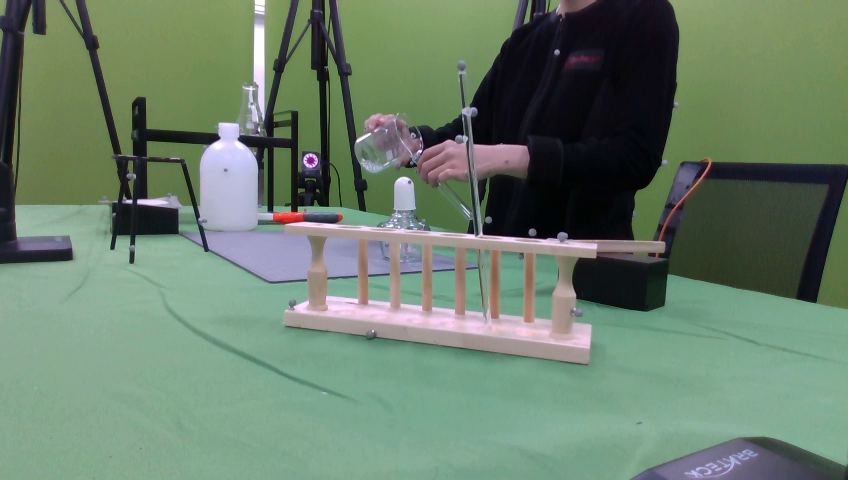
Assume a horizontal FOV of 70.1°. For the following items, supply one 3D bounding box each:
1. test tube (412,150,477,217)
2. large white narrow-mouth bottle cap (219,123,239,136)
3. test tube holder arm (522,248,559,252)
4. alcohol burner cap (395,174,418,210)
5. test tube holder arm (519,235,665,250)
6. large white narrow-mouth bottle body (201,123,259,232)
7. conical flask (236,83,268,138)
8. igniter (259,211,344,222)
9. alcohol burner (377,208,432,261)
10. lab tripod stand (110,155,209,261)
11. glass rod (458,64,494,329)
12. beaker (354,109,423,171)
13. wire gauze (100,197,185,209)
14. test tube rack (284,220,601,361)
[{"bbox_3d":[0.033,-0.091,0.975,0.150,0.017,0.017,48,27,19],"label":"test tube"},{"bbox_3d":[-0.356,-0.201,1.104,0.038,0.024,0.037,2,8,0],"label":"large white narrow-mouth bottle cap"},{"bbox_3d":[0.144,0.005,0.636,0.088,0.015,0.010,-1,17,-19],"label":"test tube holder arm"},{"bbox_3d":[-0.026,-0.067,0.833,0.034,0.048,0.034,-2,12,1],"label":"alcohol burner cap"},{"bbox_3d":[0.185,0.002,0.656,0.179,0.015,0.013,-1,17,-20],"label":"test tube holder arm"},{"bbox_3d":[-0.358,-0.116,1.116,0.102,0.194,0.102,2,8,0],"label":"large white narrow-mouth bottle body"},{"bbox_3d":[-0.400,-0.298,1.396,0.075,0.122,0.075,2,8,0],"label":"conical flask"},{"bbox_3d":[-0.302,-0.048,1.249,0.278,0.025,0.057,-2,-2,-27],"label":"igniter"},{"bbox_3d":[-0.027,-0.031,0.838,0.078,0.119,0.078,0,6,0],"label":"alcohol burner"},{"bbox_3d":[-0.361,-0.046,0.806,0.148,0.131,0.148,2,5,0],"label":"lab tripod stand"},{"bbox_3d":[0.039,-0.029,0.449,0.008,0.199,0.008,-7,9,1],"label":"glass rod"},{"bbox_3d":[-0.061,-0.164,1.027,0.100,0.084,0.074,-22,-7,32],"label":"beaker"},{"bbox_3d":[-0.469,-0.062,1.008,0.126,0.011,0.121,-2,8,-25],"label":"wire gauze"},{"bbox_3d":[0.013,0.032,0.482,0.242,0.085,0.067,4,7,16],"label":"test tube rack"}]
